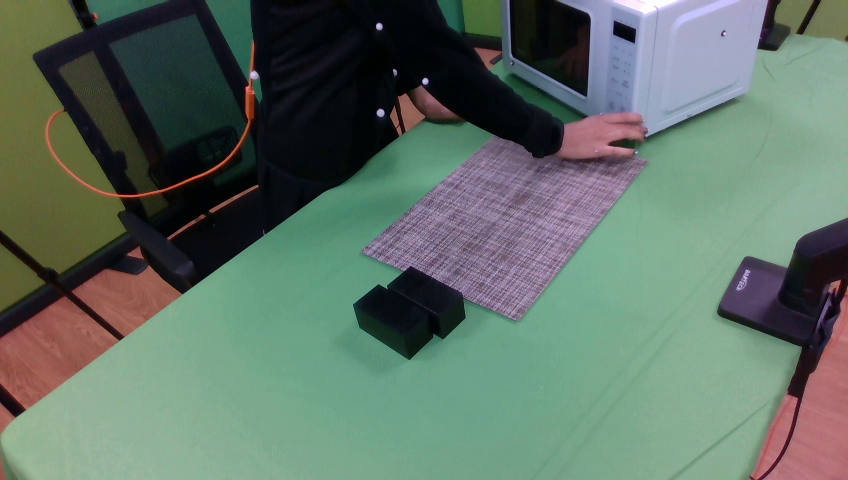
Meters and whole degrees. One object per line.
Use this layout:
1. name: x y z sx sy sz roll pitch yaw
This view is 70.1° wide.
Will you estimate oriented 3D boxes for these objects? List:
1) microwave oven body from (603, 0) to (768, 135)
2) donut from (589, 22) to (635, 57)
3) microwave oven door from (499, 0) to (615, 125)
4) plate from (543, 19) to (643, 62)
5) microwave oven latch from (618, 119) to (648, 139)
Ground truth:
1. microwave oven body: 0.411 -0.441 1.235 0.327 0.261 0.437 -25 42 -16
2. donut: 0.401 -0.429 1.293 0.099 0.048 0.098 4 49 -4
3. microwave oven door: 0.261 -0.410 1.219 0.039 0.245 0.352 -24 42 -17
4. plate: 0.359 -0.425 1.294 0.209 0.038 0.208 -1 36 1
5. microwave oven latch: 0.387 -0.218 1.127 0.030 0.029 0.078 -9 40 3
